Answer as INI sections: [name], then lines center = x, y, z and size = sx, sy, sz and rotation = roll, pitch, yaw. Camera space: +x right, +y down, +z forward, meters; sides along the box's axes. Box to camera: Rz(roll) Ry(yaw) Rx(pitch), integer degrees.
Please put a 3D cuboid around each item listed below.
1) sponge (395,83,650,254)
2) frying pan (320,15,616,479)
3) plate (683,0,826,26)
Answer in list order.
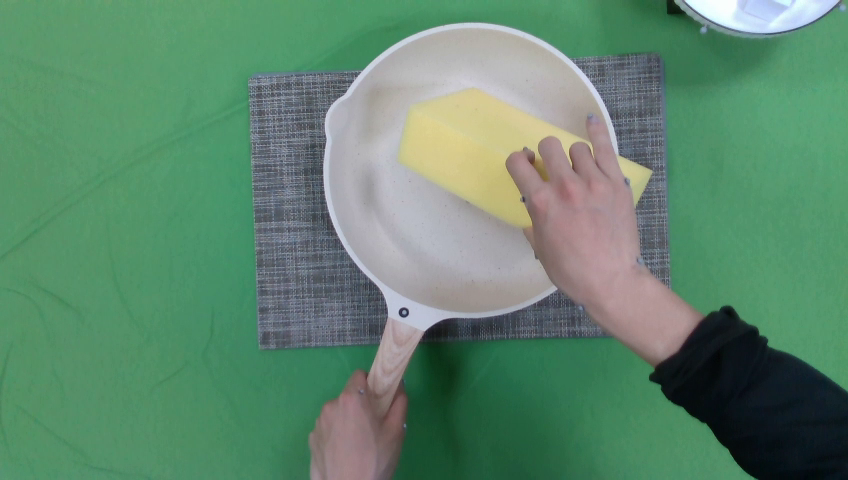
[sponge]
center = 0.090, -0.077, 0.568
size = 0.205, 0.118, 0.061
rotation = 31, 124, 24
[frying pan]
center = 0.004, 0.020, 0.611
size = 0.306, 0.103, 0.486
rotation = 22, 83, 3
[plate]
center = 0.316, -0.307, 0.586
size = 0.208, 0.039, 0.207
rotation = 0, 90, 1
